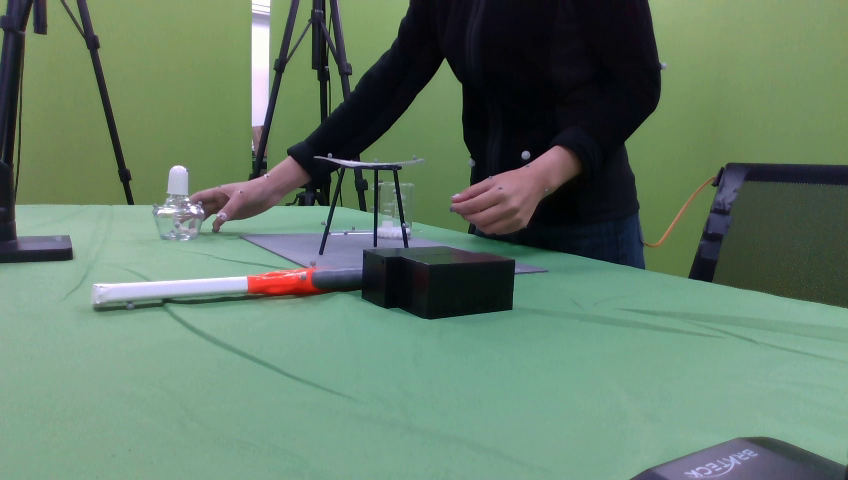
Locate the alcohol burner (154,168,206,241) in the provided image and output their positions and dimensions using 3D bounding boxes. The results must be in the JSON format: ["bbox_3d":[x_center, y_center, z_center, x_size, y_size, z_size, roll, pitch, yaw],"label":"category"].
[{"bbox_3d":[-0.394,-0.059,0.974,0.078,0.119,0.078,1,8,0],"label":"alcohol burner"}]

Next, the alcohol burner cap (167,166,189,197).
[{"bbox_3d":[-0.392,-0.095,0.970,0.034,0.048,0.034,8,8,-1],"label":"alcohol burner cap"}]

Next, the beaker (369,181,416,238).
[{"bbox_3d":[-0.058,-0.056,1.090,0.084,0.100,0.074,2,7,0],"label":"beaker"}]

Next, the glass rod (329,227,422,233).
[{"bbox_3d":[-0.088,-0.019,1.148,0.201,0.008,0.008,-3,8,-33],"label":"glass rod"}]

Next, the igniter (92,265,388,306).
[{"bbox_3d":[-0.164,0.042,0.589,0.278,0.025,0.057,-2,-6,-31],"label":"igniter"}]

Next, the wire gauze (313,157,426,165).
[{"bbox_3d":[-0.080,-0.113,0.868,0.122,0.011,0.124,-4,10,-36],"label":"wire gauze"}]

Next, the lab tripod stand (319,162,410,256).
[{"bbox_3d":[-0.081,-0.047,0.879,0.148,0.131,0.148,2,9,0],"label":"lab tripod stand"}]
